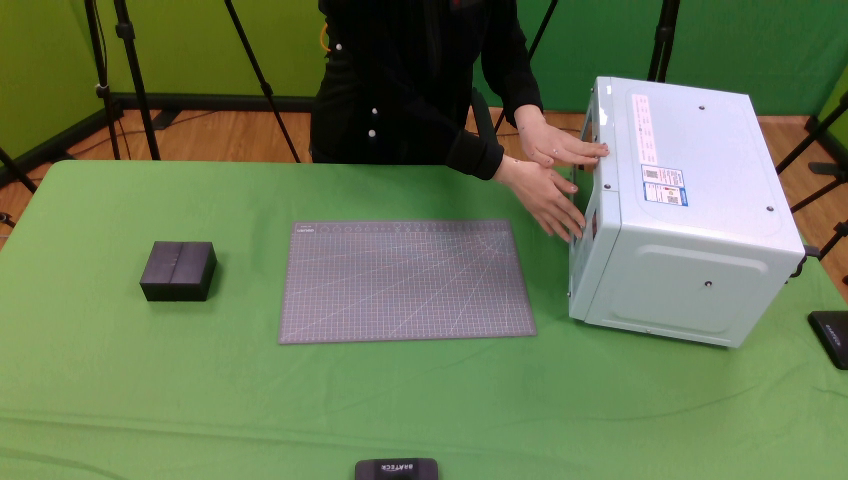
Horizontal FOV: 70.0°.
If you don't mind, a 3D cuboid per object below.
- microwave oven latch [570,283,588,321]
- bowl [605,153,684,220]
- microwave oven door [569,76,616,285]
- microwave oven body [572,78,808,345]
[{"bbox_3d":[0.276,0.105,1.082,0.030,0.029,0.079,10,45,7],"label":"microwave oven latch"},{"bbox_3d":[0.422,-0.094,1.195,0.151,0.077,0.150,4,48,-4],"label":"bowl"},{"bbox_3d":[0.319,-0.120,1.160,0.039,0.245,0.354,8,46,5],"label":"microwave oven door"},{"bbox_3d":[0.456,-0.063,1.124,0.326,0.261,0.439,8,45,5],"label":"microwave oven body"}]
